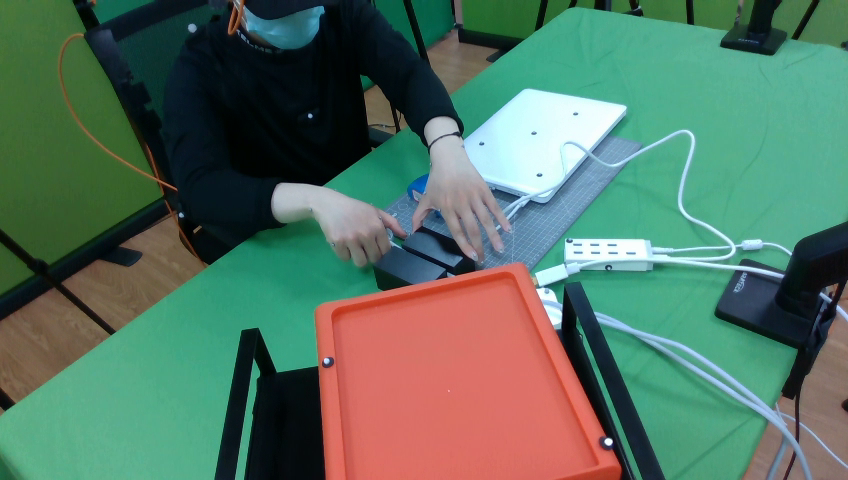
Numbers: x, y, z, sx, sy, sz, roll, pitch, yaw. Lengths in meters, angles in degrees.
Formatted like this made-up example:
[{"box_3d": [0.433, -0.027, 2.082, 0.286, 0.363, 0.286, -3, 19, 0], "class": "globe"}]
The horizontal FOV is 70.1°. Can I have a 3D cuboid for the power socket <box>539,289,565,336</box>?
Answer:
[{"box_3d": [0.081, 0.112, 0.822, 0.227, 0.033, 0.072, -7, 41, -1], "class": "power socket"}]

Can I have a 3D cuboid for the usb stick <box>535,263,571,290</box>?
[{"box_3d": [0.181, 0.058, 0.876, 0.059, 0.027, 0.021, -32, 88, -6], "class": "usb stick"}]

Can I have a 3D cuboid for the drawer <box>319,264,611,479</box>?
[{"box_3d": [0.020, 0.129, 0.497, 0.195, 0.073, 0.210, -11, 41, -5], "class": "drawer"}]

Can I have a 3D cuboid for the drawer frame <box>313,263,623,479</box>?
[{"box_3d": [0.021, 0.130, 0.494, 0.202, 0.083, 0.212, -11, 41, -6], "class": "drawer frame"}]

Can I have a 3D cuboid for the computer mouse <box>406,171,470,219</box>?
[{"box_3d": [0.024, -0.082, 1.049, 0.063, 0.041, 0.116, -30, 50, -27], "class": "computer mouse"}]

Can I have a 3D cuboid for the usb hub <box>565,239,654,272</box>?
[{"box_3d": [0.275, 0.022, 0.906, 0.125, 0.025, 0.049, 1, 41, 9], "class": "usb hub"}]

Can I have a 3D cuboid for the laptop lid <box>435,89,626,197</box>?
[{"box_3d": [0.211, -0.202, 1.165, 0.240, 0.013, 0.358, 21, 47, 32], "class": "laptop lid"}]

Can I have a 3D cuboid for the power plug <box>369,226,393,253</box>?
[{"box_3d": [-0.066, 0.009, 0.957, 0.035, 0.053, 0.072, -18, 52, 2], "class": "power plug"}]

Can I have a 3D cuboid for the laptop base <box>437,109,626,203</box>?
[{"box_3d": [0.214, -0.193, 1.172, 0.233, 0.023, 0.355, 19, 46, 32], "class": "laptop base"}]
